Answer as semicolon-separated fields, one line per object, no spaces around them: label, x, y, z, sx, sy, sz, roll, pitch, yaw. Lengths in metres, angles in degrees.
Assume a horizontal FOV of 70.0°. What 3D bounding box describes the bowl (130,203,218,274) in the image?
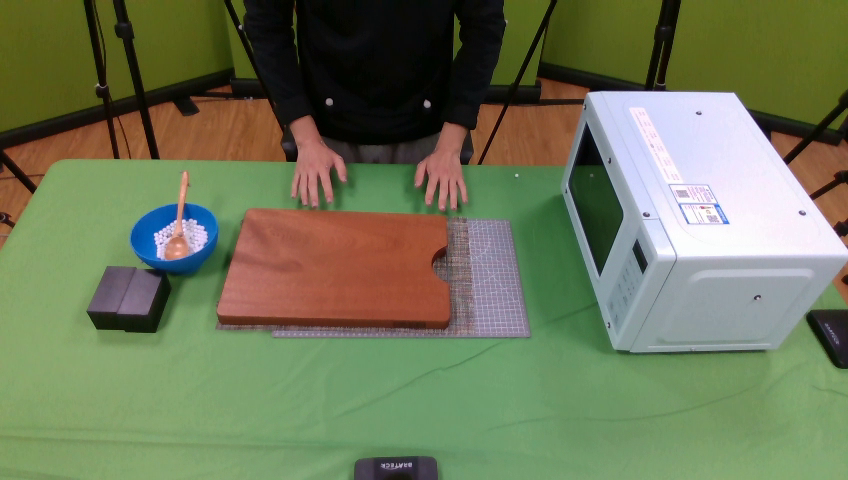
bowl;-0.450;0.010;1.116;0.151;0.077;0.150;3;45;-3

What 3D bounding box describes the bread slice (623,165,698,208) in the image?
bread slice;0.450;-0.100;1.145;0.135;0.018;0.106;3;42;-21

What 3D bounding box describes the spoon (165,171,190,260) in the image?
spoon;-0.452;-0.046;1.129;0.041;0.022;0.193;-1;69;-2

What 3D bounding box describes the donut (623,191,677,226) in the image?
donut;0.437;-0.061;1.173;0.099;0.048;0.098;-6;28;4

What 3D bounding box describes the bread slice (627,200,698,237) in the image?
bread slice;0.470;-0.044;1.197;0.131;0.019;0.104;4;40;10

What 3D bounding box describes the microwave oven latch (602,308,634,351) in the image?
microwave oven latch;0.332;0.153;1.044;0.030;0.029;0.078;-1;45;-4

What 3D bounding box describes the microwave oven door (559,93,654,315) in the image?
microwave oven door;0.327;-0.074;1.123;0.039;0.245;0.353;-1;46;-5

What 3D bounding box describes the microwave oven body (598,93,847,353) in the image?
microwave oven body;0.475;-0.041;1.110;0.326;0.261;0.438;-1;45;-4
